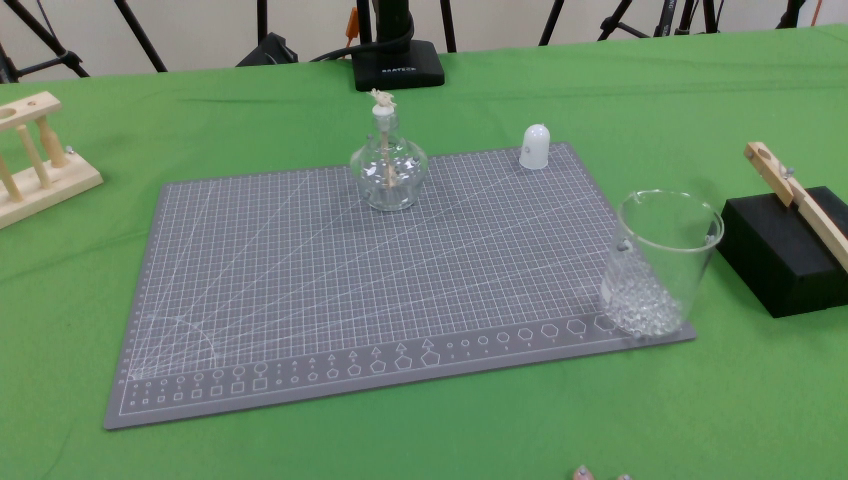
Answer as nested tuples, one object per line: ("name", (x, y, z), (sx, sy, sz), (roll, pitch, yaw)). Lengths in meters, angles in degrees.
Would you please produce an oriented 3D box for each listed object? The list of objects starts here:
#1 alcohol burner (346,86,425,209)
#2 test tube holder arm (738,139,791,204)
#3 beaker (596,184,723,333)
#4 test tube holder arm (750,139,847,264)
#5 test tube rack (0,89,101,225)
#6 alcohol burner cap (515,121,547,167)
("alcohol burner", (-0.038, -0.091, 0.586), (0.078, 0.120, 0.077), (-1, 41, 2))
("test tube holder arm", (0.317, -0.064, 0.560), (0.010, 0.015, 0.087), (-10, 42, 1))
("beaker", (0.176, 0.016, 0.475), (0.074, 0.101, 0.083), (-13, 43, -14))
("test tube holder arm", (0.327, -0.036, 0.527), (0.013, 0.015, 0.176), (-11, 42, 1))
("test tube rack", (-0.449, -0.051, 0.567), (0.066, 0.086, 0.242), (32, 51, 31))
("alcohol burner cap", (0.117, -0.107, 0.657), (0.034, 0.048, 0.033), (0, 42, 0))
